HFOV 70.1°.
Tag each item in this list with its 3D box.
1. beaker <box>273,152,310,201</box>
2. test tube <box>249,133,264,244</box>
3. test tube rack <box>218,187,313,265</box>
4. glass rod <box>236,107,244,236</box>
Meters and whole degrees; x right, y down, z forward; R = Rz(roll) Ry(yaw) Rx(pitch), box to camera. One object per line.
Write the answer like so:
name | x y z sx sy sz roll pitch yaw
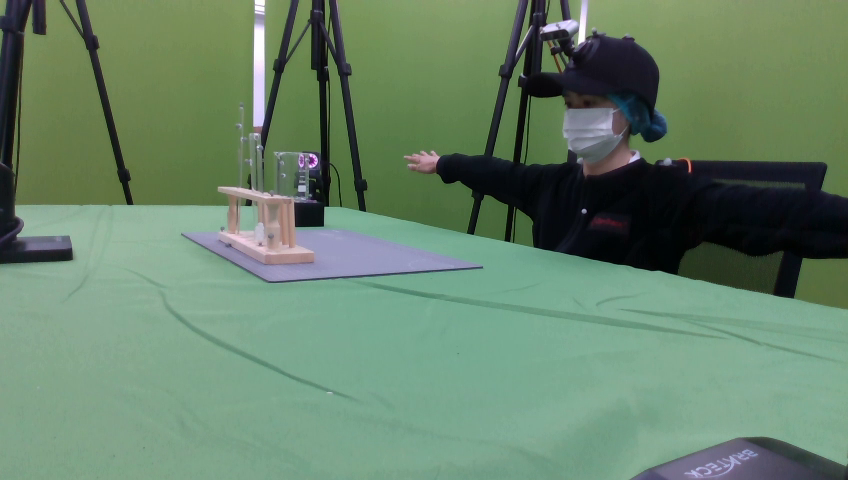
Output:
beaker | -0.277 -0.131 1.249 0.073 0.100 0.084 6 8 26
test tube | -0.228 -0.070 0.824 0.017 0.150 0.017 -1 4 0
test tube rack | -0.235 -0.027 0.872 0.067 0.085 0.241 -2 8 -32
glass rod | -0.282 -0.102 0.924 0.008 0.199 0.008 2 2 0
